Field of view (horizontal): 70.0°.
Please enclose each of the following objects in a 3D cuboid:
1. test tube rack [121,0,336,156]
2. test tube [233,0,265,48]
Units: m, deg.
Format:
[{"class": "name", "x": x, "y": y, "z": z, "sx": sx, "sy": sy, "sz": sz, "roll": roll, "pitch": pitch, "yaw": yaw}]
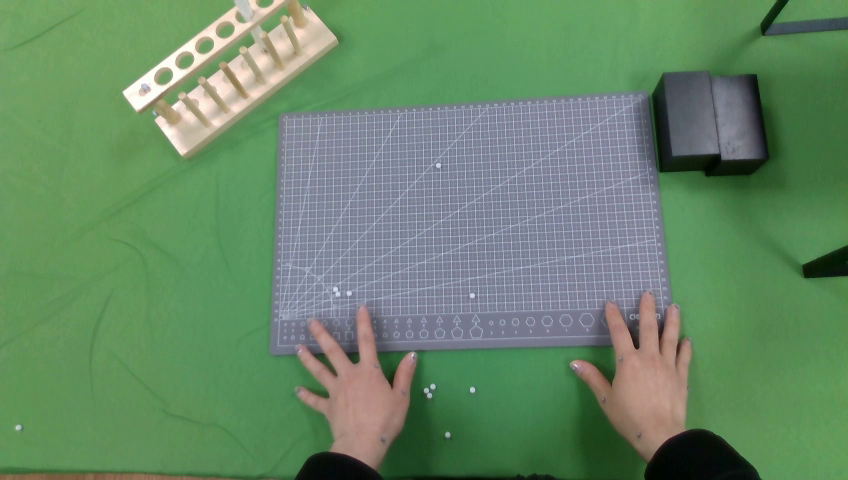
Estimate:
[{"class": "test tube rack", "x": -0.229, "y": -0.215, "z": 0.733, "sx": 0.242, "sy": 0.085, "sz": 0.066, "roll": -39, "pitch": 76, "yaw": -5}, {"class": "test tube", "x": -0.207, "y": -0.267, "z": 0.693, "sx": 0.017, "sy": 0.151, "sz": 0.017, "roll": -1, "pitch": 74, "yaw": 2}]
